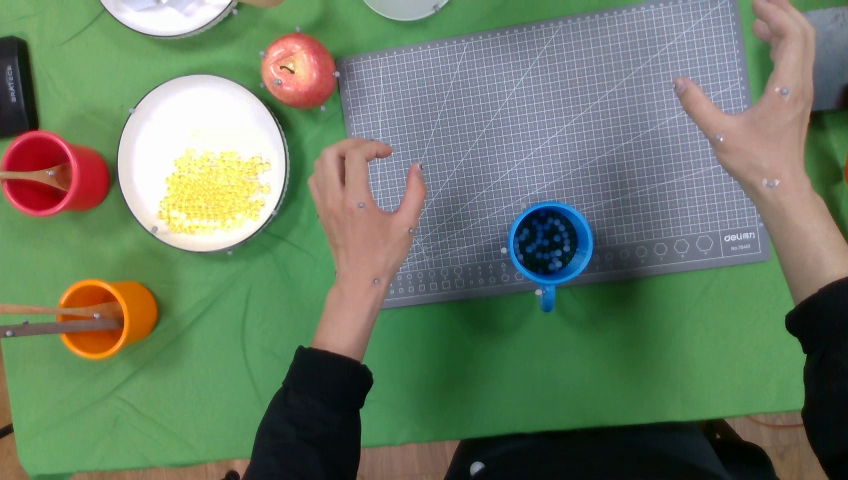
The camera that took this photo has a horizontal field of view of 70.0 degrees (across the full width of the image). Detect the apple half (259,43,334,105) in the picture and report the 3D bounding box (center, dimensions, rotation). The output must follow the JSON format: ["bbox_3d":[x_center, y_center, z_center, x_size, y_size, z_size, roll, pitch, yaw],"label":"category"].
[{"bbox_3d":[-0.136,-0.180,0.683,0.081,0.074,0.053,-23,94,4],"label":"apple half"}]

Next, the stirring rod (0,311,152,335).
[{"bbox_3d":[-0.407,0.095,0.691,0.177,0.006,0.014,-1,81,-34],"label":"stirring rod"}]

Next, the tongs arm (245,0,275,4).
[{"bbox_3d":[-0.337,-0.330,0.683,0.384,0.026,0.051,21,91,7],"label":"tongs arm"}]

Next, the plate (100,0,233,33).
[{"bbox_3d":[-0.296,-0.345,0.710,0.207,0.039,0.207,0,93,7],"label":"plate"}]

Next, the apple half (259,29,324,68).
[{"bbox_3d":[-0.152,-0.216,0.681,0.081,0.081,0.033,-23,94,7],"label":"apple half"}]

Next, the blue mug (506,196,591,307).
[{"bbox_3d":[0.128,0.013,0.643,0.082,0.106,0.116,0,93,7],"label":"blue mug"}]

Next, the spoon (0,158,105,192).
[{"bbox_3d":[-0.475,-0.077,0.691,0.195,0.021,0.041,-2,91,-37],"label":"spoon"}]

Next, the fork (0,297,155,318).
[{"bbox_3d":[-0.418,0.076,0.689,0.209,0.018,0.028,7,93,-37],"label":"fork"}]

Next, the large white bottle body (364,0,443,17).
[{"bbox_3d":[-0.032,-0.317,0.608,0.130,0.185,0.130,0,92,7],"label":"large white bottle body"}]

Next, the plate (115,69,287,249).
[{"bbox_3d":[-0.260,-0.094,0.718,0.209,0.038,0.209,0,93,7],"label":"plate"}]

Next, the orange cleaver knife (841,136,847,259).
[{"bbox_3d":[0.447,-0.074,0.614,0.012,0.076,0.213,-8,123,7],"label":"orange cleaver knife"}]
